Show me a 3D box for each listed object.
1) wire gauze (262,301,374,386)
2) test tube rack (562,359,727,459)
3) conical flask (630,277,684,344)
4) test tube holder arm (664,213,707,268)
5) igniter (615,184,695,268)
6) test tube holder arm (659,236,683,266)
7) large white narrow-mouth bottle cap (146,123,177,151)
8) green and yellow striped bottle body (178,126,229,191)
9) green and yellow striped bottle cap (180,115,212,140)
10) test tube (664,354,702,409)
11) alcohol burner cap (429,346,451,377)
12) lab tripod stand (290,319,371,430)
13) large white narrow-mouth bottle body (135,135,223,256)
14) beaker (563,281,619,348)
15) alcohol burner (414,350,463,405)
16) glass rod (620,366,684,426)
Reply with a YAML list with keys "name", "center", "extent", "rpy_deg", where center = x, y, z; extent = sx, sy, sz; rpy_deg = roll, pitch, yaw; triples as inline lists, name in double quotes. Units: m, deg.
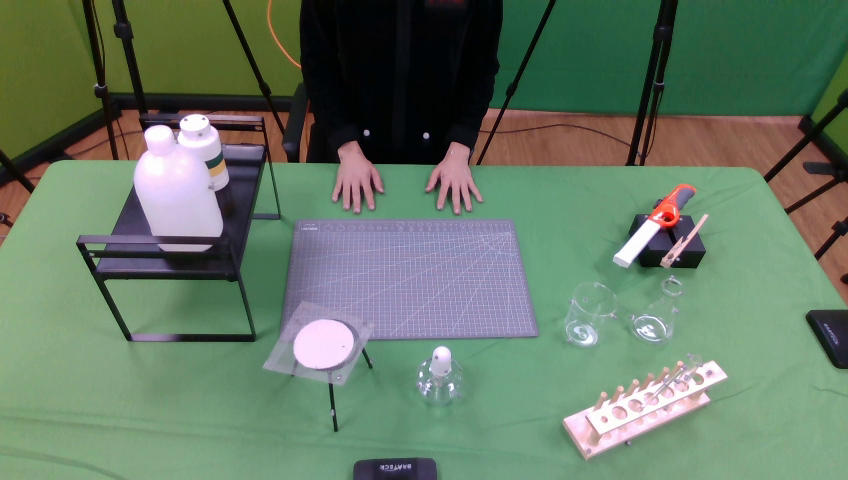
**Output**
- name: "wire gauze"
  center: [-0.150, 0.148, 0.873]
  extent: [0.121, 0.011, 0.124]
  rpy_deg: [14, 46, 12]
- name: "test tube rack"
  center: [0.341, 0.247, 0.940]
  extent: [0.243, 0.085, 0.066]
  rpy_deg: [-16, 49, -19]
- name: "conical flask"
  center: [0.408, 0.117, 1.045]
  extent: [0.075, 0.122, 0.075]
  rpy_deg: [2, 46, -2]
- name: "test tube holder arm"
  center: [0.507, -0.001, 1.171]
  extent: [0.013, 0.015, 0.178]
  rpy_deg: [34, 53, 26]
- name: "igniter"
  center: [0.459, -0.035, 1.197]
  extent: [0.057, 0.025, 0.276]
  rpy_deg: [33, 55, 27]
- name: "test tube holder arm"
  center: [0.472, 0.020, 1.149]
  extent: [0.010, 0.015, 0.088]
  rpy_deg: [35, 54, 27]
- name: "large white narrow-mouth bottle cap"
  center: [-0.354, -0.138, 0.815]
  extent: [0.038, 0.024, 0.037]
  rpy_deg: [2, 44, -1]
- name: "green and yellow striped bottle body"
  center: [-0.361, -0.142, 0.989]
  extent: [0.063, 0.120, 0.063]
  rpy_deg: [2, 46, -2]
- name: "green and yellow striped bottle cap"
  center: [-0.358, -0.177, 0.951]
  extent: [0.045, 0.020, 0.045]
  rpy_deg: [2, 44, -1]
- name: "test tube"
  center: [0.384, 0.215, 0.907]
  extent: [0.017, 0.151, 0.017]
  rpy_deg: [-1, 49, 1]
- name: "alcohol burner cap"
  center: [0.026, 0.180, 0.912]
  extent: [0.034, 0.048, 0.033]
  rpy_deg: [1, 47, -1]
- name: "lab tripod stand"
  center: [-0.146, 0.194, 0.923]
  extent: [0.148, 0.132, 0.147]
  rpy_deg: [1, 47, -1]
- name: "large white narrow-mouth bottle body"
  center: [-0.358, -0.075, 0.874]
  extent: [0.102, 0.195, 0.101]
  rpy_deg: [2, 44, -1]
- name: "beaker"
  center: [0.283, 0.129, 1.041]
  extent: [0.074, 0.101, 0.083]
  rpy_deg: [11, 46, 6]
- name: "alcohol burner"
  center: [0.023, 0.205, 0.939]
  extent: [0.078, 0.120, 0.077]
  rpy_deg: [1, 48, -1]
- name: "glass rod"
  center: [0.322, 0.227, 0.866]
  extent: [0.008, 0.200, 0.008]
  rpy_deg: [5, 51, -7]
